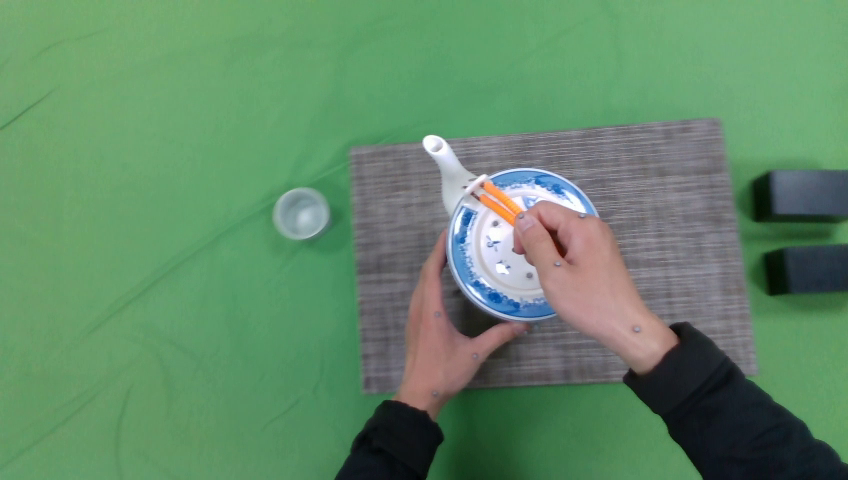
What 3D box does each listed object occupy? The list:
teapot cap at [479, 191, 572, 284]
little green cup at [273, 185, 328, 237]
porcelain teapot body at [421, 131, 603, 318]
[{"bbox_3d":[0.090,-0.004,0.537,0.085,0.044,0.085,0,81,2],"label":"teapot cap"},{"bbox_3d":[-0.145,-0.032,0.723,0.061,0.039,0.061,-1,81,4],"label":"little green cup"},{"bbox_3d":[0.072,-0.018,0.579,0.205,0.226,0.145,44,88,8],"label":"porcelain teapot body"}]
